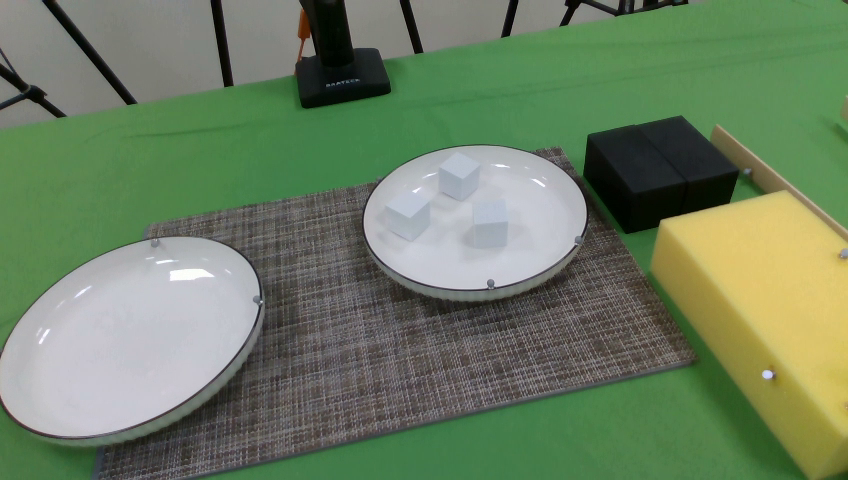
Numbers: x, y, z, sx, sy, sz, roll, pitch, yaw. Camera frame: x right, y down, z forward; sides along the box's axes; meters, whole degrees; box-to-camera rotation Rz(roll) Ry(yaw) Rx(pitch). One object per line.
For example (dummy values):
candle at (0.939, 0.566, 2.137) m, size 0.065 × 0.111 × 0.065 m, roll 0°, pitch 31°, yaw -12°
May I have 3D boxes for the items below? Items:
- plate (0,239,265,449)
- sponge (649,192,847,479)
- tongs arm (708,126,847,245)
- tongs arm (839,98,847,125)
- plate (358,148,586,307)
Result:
plate at (-0.232, 0.081, 0.501) m, size 0.209 × 0.038 × 0.207 m, roll -3°, pitch 42°, yaw 3°
sponge at (0.277, 0.059, 0.450) m, size 0.118 × 0.061 × 0.204 m, roll -15°, pitch 44°, yaw -8°
tongs arm at (0.372, 0.007, 0.519) m, size 0.028 × 0.028 × 0.383 m, roll -15°, pitch 44°, yaw -11°
tongs arm at (0.451, -0.011, 0.522) m, size 0.051 × 0.027 × 0.380 m, roll -8°, pitch 44°, yaw 0°
plate at (0.044, -0.012, 0.568) m, size 0.207 × 0.039 × 0.205 m, roll -3°, pitch 43°, yaw 3°
